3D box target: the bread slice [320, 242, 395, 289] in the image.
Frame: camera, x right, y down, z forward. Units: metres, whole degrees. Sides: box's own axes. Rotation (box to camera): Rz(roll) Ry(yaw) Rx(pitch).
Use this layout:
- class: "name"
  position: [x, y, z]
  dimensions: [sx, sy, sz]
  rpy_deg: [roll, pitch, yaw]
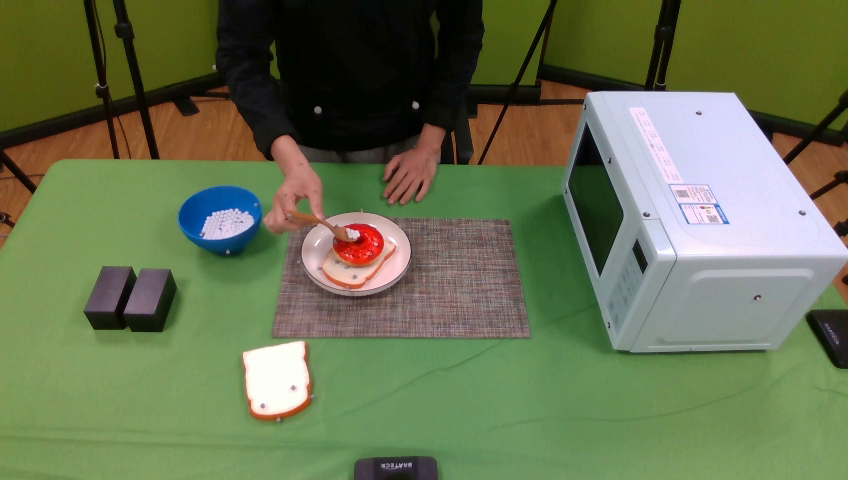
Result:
- class: "bread slice"
  position: [-0.129, 0.038, 1.142]
  dimensions: [0.107, 0.018, 0.134]
  rpy_deg: [19, 45, 14]

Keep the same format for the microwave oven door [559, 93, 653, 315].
- class: "microwave oven door"
  position: [0.327, -0.074, 1.123]
  dimensions: [0.039, 0.245, 0.353]
  rpy_deg: [-1, 46, -5]

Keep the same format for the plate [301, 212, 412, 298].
- class: "plate"
  position: [-0.126, 0.031, 1.145]
  dimensions: [0.208, 0.039, 0.206]
  rpy_deg: [2, 46, -2]

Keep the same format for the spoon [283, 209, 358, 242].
- class: "spoon"
  position: [-0.172, -0.028, 1.020]
  dimensions: [0.021, 0.195, 0.041]
  rpy_deg: [-46, 62, 8]

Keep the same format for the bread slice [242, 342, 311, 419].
- class: "bread slice"
  position: [-0.234, 0.223, 0.970]
  dimensions: [0.105, 0.019, 0.130]
  rpy_deg: [-10, 46, -13]

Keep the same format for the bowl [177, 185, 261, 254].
- class: "bowl"
  position: [-0.383, -0.026, 1.158]
  dimensions: [0.151, 0.077, 0.150]
  rpy_deg: [2, 46, -2]

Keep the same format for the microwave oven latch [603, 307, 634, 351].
- class: "microwave oven latch"
  position: [0.332, 0.153, 1.044]
  dimensions: [0.030, 0.029, 0.078]
  rpy_deg: [0, 45, -4]

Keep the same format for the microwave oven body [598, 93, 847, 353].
- class: "microwave oven body"
  position: [0.475, -0.041, 1.109]
  dimensions: [0.326, 0.261, 0.438]
  rpy_deg: [-1, 45, -4]

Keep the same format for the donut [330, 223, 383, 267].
- class: "donut"
  position: [-0.125, 0.010, 1.127]
  dimensions: [0.099, 0.048, 0.098]
  rpy_deg: [3, 46, -3]
